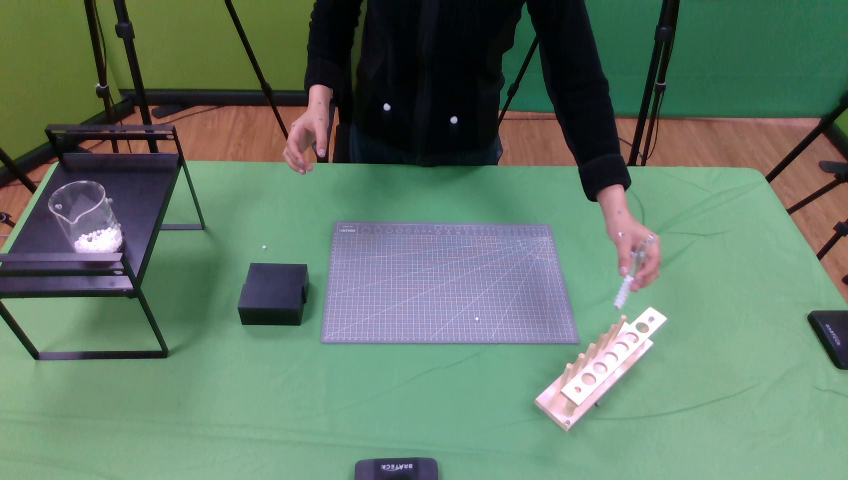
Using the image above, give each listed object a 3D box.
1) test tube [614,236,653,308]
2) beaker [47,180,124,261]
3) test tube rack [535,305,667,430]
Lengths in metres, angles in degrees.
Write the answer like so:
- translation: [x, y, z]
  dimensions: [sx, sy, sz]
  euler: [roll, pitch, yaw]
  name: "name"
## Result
- translation: [0.313, 0.052, 0.912]
  dimensions: [0.017, 0.151, 0.017]
  euler: [3, 45, -2]
  name: "test tube"
- translation: [-0.486, -0.023, 0.879]
  dimensions: [0.074, 0.101, 0.083]
  euler: [-7, 48, -9]
  name: "beaker"
- translation: [0.290, 0.193, 0.984]
  dimensions: [0.242, 0.085, 0.066]
  euler: [-32, 56, -30]
  name: "test tube rack"
